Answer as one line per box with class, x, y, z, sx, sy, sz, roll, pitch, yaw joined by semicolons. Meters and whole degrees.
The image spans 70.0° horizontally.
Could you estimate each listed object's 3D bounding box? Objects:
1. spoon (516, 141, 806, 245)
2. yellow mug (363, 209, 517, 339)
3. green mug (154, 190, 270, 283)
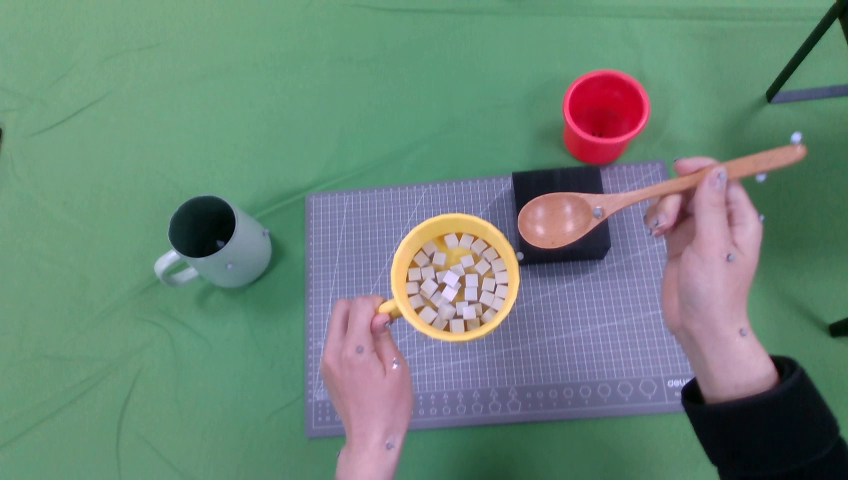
spoon;0.159;-0.035;0.419;0.193;0.022;0.041;-15;77;18
yellow mug;0.010;0.037;0.492;0.131;0.064;0.099;-26;80;1
green mug;-0.251;0.007;0.706;0.125;0.105;0.092;-36;73;-7
